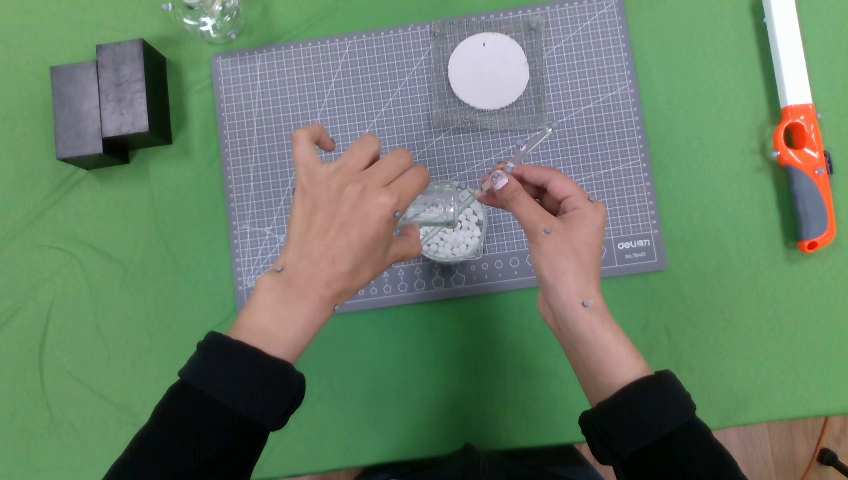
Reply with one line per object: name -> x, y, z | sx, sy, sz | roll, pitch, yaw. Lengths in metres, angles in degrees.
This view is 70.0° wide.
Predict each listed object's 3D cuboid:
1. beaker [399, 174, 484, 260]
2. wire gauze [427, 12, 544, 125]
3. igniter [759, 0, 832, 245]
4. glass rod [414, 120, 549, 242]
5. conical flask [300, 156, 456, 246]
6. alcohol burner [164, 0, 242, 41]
beaker -> 0.022, -0.016, 0.589 | 0.074, 0.100, 0.084 | -44, 84, -1
wire gauze -> 0.066, -0.183, 0.646 | 0.125, 0.011, 0.121 | 0, 85, 0
igniter -> 0.376, -0.132, 0.617 | 0.057, 0.025, 0.276 | -6, 85, -7
glass rod -> 0.040, -0.043, 0.508 | 0.008, 0.200, 0.008 | 15, 58, -25
conical flask -> -0.035, -0.032, 0.502 | 0.122, 0.075, 0.075 | 1, 85, 8
alcohol burner -> -0.234, -0.253, 0.617 | 0.078, 0.119, 0.078 | 0, 86, 5
